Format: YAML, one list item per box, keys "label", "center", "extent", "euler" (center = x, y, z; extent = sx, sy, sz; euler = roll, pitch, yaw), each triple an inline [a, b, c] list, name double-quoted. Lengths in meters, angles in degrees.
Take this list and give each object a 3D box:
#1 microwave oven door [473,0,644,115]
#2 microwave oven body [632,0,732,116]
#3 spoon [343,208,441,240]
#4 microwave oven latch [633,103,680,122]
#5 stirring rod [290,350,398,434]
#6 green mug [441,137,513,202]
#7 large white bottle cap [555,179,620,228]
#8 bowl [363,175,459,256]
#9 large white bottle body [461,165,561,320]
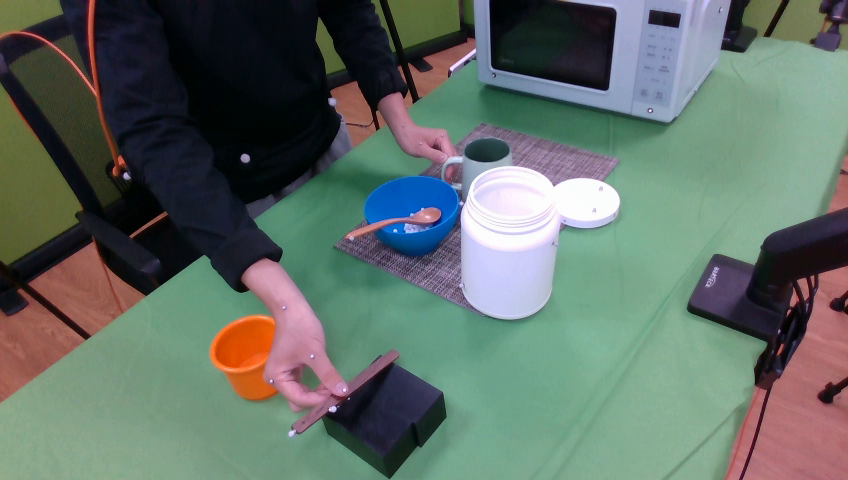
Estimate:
- label: "microwave oven door"
  center: [0.257, -0.396, 1.199]
  extent: [0.353, 0.245, 0.039]
  euler: [21, 48, 29]
- label: "microwave oven body"
  center: [0.377, -0.463, 1.267]
  extent: [0.438, 0.261, 0.327]
  euler: [21, 49, 30]
- label: "spoon"
  center: [-0.046, -0.026, 0.911]
  extent: [0.041, 0.021, 0.195]
  euler: [27, 27, 37]
- label: "microwave oven latch"
  center: [0.444, -0.249, 1.157]
  extent: [0.078, 0.029, 0.030]
  euler: [21, 49, 30]
- label: "stirring rod"
  center: [-0.085, 0.167, 0.684]
  extent: [0.014, 0.006, 0.177]
  euler: [33, 34, 21]
- label: "green mug"
  center: [0.091, -0.108, 1.012]
  extent: [0.125, 0.105, 0.092]
  euler: [2, 42, 11]
- label: "large white bottle cap"
  center: [0.265, -0.062, 1.001]
  extent: [0.115, 0.018, 0.114]
  euler: [-3, 41, 3]
- label: "bowl"
  center: [-0.016, -0.029, 0.955]
  extent: [0.151, 0.077, 0.150]
  euler: [-4, 40, 4]
- label: "large white bottle body"
  center: [0.115, 0.004, 0.816]
  extent: [0.130, 0.185, 0.130]
  euler: [-2, 43, 2]
